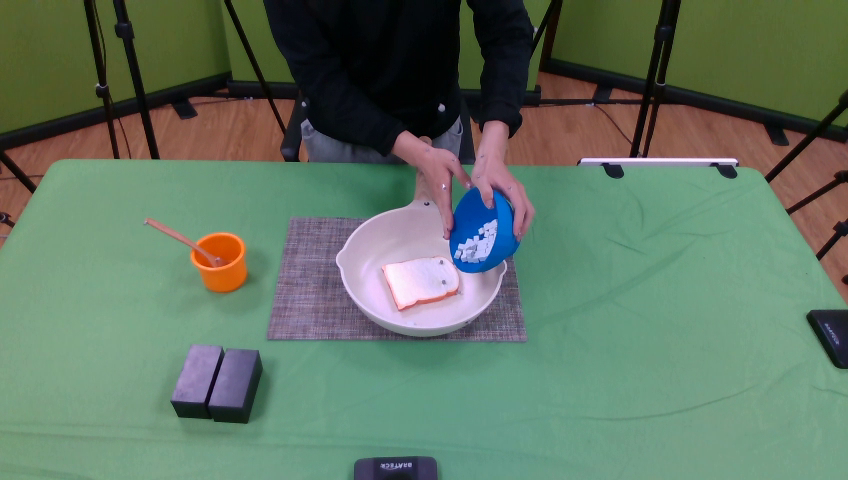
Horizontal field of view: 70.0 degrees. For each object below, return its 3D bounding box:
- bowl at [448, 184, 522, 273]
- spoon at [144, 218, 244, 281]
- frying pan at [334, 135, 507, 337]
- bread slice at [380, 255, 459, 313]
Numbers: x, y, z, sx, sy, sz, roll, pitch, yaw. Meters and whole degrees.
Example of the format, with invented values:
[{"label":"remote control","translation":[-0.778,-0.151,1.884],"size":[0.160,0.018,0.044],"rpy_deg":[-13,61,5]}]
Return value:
[{"label":"bowl","translation":[0.112,-0.014,1.027],"size":[0.077,0.152,0.150],"rpy_deg":[10,41,-28]},{"label":"spoon","translation":[-0.401,0.015,1.064],"size":[0.195,0.021,0.041],"rpy_deg":[41,36,-29]},{"label":"frying pan","translation":[-0.004,-0.026,1.160],"size":[0.307,0.103,0.485],"rpy_deg":[4,55,-2]},{"label":"bread slice","translation":[-0.005,0.075,1.119],"size":[0.134,0.018,0.106],"rpy_deg":[-17,50,-16]}]
